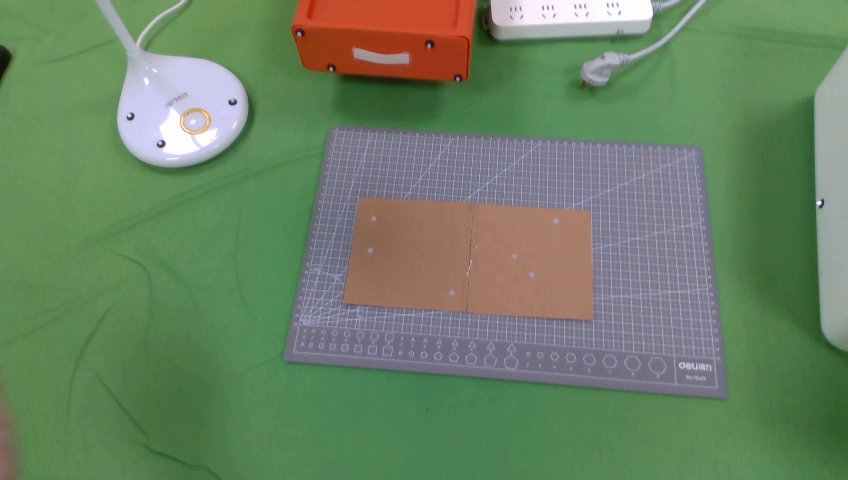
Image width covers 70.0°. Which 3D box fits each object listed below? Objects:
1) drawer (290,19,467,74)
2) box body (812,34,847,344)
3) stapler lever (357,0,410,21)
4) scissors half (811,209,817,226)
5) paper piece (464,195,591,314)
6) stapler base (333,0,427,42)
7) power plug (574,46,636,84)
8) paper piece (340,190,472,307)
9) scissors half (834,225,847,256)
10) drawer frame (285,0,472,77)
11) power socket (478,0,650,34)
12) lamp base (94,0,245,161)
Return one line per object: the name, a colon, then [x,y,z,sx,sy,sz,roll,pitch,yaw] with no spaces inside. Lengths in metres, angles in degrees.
drawer: [-0.040,-0.307,0.731,0.194,0.074,0.210,5,65,5]
box body: [0.549,-0.059,0.601,0.254,0.161,0.361,11,66,7]
stapler lever: [-0.066,-0.294,0.717,0.117,0.040,0.027,34,87,20]
scissors half: [0.500,-0.053,0.676,0.175,0.013,0.039,-24,69,-14]
paper piece: [0.114,0.013,0.666,0.135,0.004,0.134,4,66,4]
stapler base: [-0.057,-0.289,0.742,0.130,0.024,0.041,34,88,18]
power plug: [0.224,-0.213,0.752,0.073,0.053,0.035,5,60,-17]
paper piece: [-0.018,0.006,0.675,0.136,0.009,0.137,3,67,7]
scissors half: [0.511,-0.038,0.670,0.175,0.013,0.040,-41,79,-18]
drawer frame: [-0.042,-0.310,0.732,0.201,0.083,0.212,5,65,5]
power socket: [0.186,-0.311,0.800,0.227,0.033,0.071,-2,66,1]
lamp base: [-0.316,-0.206,0.688,0.178,0.182,0.160,35,71,19]
